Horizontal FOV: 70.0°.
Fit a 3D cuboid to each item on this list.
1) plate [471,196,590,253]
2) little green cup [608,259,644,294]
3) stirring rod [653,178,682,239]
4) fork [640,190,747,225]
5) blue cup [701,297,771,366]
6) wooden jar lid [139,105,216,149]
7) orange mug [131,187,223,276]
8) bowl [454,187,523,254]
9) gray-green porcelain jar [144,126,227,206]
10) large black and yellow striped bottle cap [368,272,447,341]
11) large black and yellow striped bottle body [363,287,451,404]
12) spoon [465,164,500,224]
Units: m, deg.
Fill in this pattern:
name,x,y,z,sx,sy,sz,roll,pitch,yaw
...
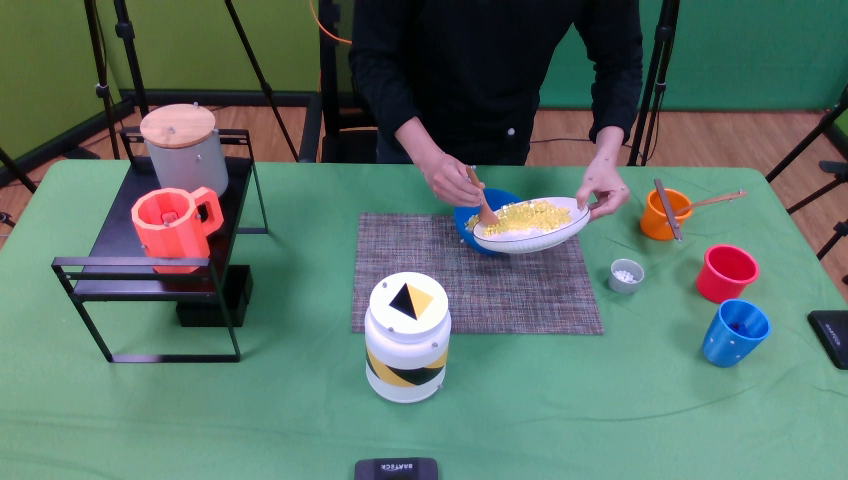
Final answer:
name,x,y,z,sx,sy,sz,roll,pitch,yaw
plate,0.189,-0.024,1.068,0.209,0.038,0.208,-14,18,5
little green cup,0.379,0.070,1.147,0.061,0.039,0.061,3,46,-3
stirring rod,0.482,-0.065,1.203,0.014,0.006,0.175,2,46,-1
fork,0.533,-0.065,1.211,0.207,0.019,0.028,-22,28,38
blue cup,0.519,0.162,1.025,0.093,0.101,0.092,3,45,-3
wooden jar lid,-0.372,-0.169,0.920,0.108,0.021,0.107,4,44,-4
orange mug,-0.354,-0.022,0.888,0.083,0.101,0.126,31,55,24
bowl,0.128,-0.026,1.187,0.151,0.077,0.150,3,47,-3
gray-green porcelain jar,-0.375,-0.126,0.967,0.106,0.127,0.105,2,46,-2
large black and yellow striped bottle cap,-0.023,0.093,0.875,0.115,0.019,0.114,3,46,-3
large black and yellow striped bottle body,-0.027,0.153,0.935,0.131,0.185,0.130,2,46,-2
spoon,0.097,-0.077,1.049,0.041,0.195,0.021,11,64,25
